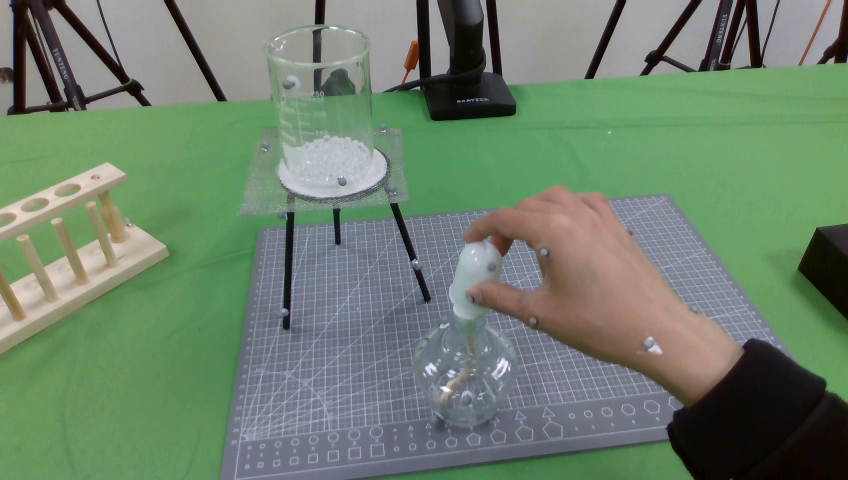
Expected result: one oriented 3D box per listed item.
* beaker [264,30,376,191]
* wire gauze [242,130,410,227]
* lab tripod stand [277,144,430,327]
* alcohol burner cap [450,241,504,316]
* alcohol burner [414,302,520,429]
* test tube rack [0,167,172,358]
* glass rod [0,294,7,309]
[{"bbox_3d":[-0.076,-0.095,0.451,0.083,0.101,0.074,20,42,22],"label":"beaker"},{"bbox_3d":[-0.075,-0.055,0.479,0.121,0.011,0.123,-3,41,-4],"label":"wire gauze"},{"bbox_3d":[-0.066,-0.005,0.523,0.148,0.132,0.147,1,37,0],"label":"lab tripod stand"},{"bbox_3d":[0.036,0.022,0.386,0.034,0.048,0.033,5,43,-4],"label":"alcohol burner cap"},{"bbox_3d":[0.031,0.079,0.430,0.078,0.120,0.077,0,41,0],"label":"alcohol burner"},{"bbox_3d":[-0.353,0.032,0.523,0.066,0.086,0.242,26,45,30],"label":"test tube rack"},{"bbox_3d":[-0.377,-0.025,0.490,0.008,0.201,0.008,0,31,1],"label":"glass rod"}]
